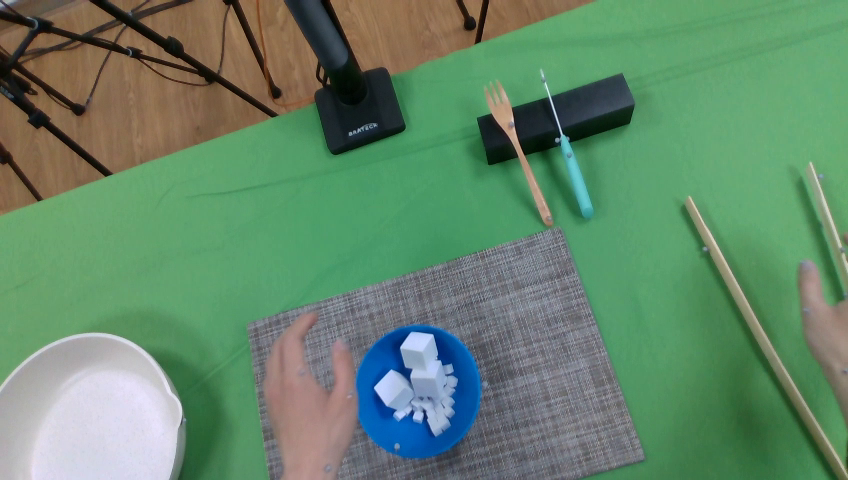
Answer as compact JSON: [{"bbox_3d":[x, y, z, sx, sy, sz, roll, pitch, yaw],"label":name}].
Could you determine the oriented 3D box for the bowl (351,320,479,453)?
[{"bbox_3d":[-0.005,0.178,0.730,0.151,0.077,0.150,-3,71,9],"label":"bowl"}]

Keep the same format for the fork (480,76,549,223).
[{"bbox_3d":[0.123,-0.118,0.804,0.028,0.018,0.207,-23,90,-2],"label":"fork"}]

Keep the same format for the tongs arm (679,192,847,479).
[{"bbox_3d":[0.399,0.107,0.710,0.028,0.028,0.384,-22,69,1],"label":"tongs arm"}]

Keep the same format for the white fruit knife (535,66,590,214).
[{"bbox_3d":[0.180,-0.133,0.797,0.016,0.027,0.207,-19,86,10],"label":"white fruit knife"}]

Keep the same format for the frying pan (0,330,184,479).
[{"bbox_3d":[-0.415,0.352,0.738,0.307,0.104,0.483,-20,61,4],"label":"frying pan"}]

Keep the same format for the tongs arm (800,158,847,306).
[{"bbox_3d":[0.477,0.085,0.698,0.051,0.027,0.382,-11,71,8],"label":"tongs arm"}]
